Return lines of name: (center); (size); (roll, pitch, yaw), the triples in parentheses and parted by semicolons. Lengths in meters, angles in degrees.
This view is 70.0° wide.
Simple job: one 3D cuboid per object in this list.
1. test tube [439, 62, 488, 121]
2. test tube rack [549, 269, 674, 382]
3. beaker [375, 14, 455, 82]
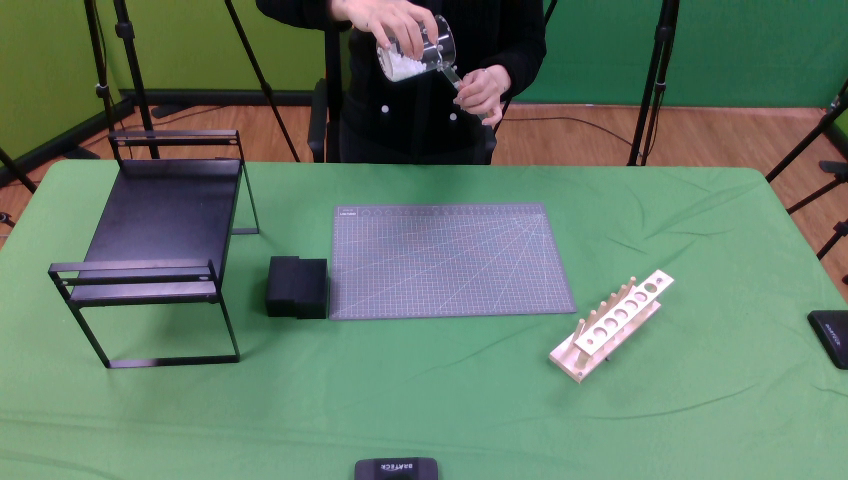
test tube: (0.069, -0.240, 0.994); (0.017, 0.151, 0.017); (-16, 58, 27)
test tube rack: (0.325, 0.134, 1.047); (0.242, 0.085, 0.066); (-32, 56, -30)
beaker: (-0.015, -0.280, 0.900); (0.100, 0.084, 0.073); (-22, 47, -14)
